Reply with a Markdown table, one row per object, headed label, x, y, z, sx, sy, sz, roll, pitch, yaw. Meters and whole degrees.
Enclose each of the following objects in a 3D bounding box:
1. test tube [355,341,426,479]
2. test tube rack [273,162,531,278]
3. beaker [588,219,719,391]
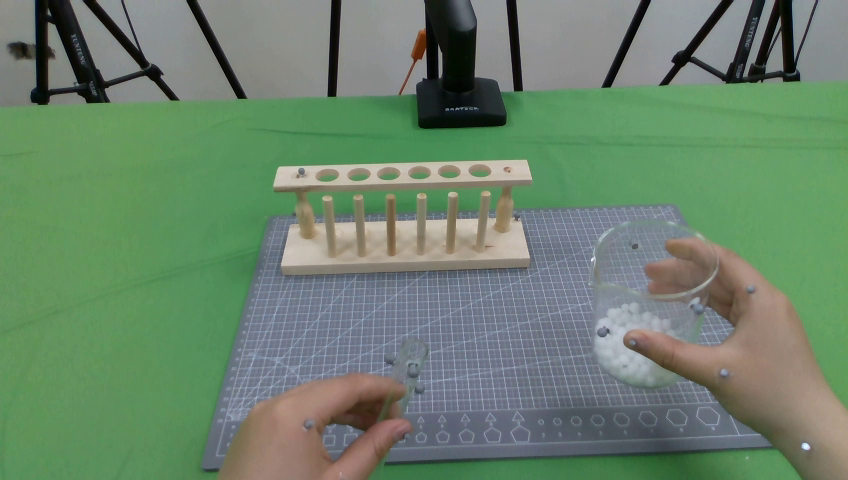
| label | x | y | z | sx | sy | sz | roll | pitch | yaw |
| --- | --- | --- | --- | --- | --- | --- | --- | --- | --- |
| test tube | -0.023 | 0.114 | 0.371 | 0.017 | 0.151 | 0.017 | 11 | 40 | -9 |
| test tube rack | -0.019 | -0.020 | 0.592 | 0.242 | 0.086 | 0.066 | -2 | 40 | -1 |
| beaker | 0.148 | 0.048 | 0.411 | 0.084 | 0.101 | 0.073 | -19 | 40 | -10 |
